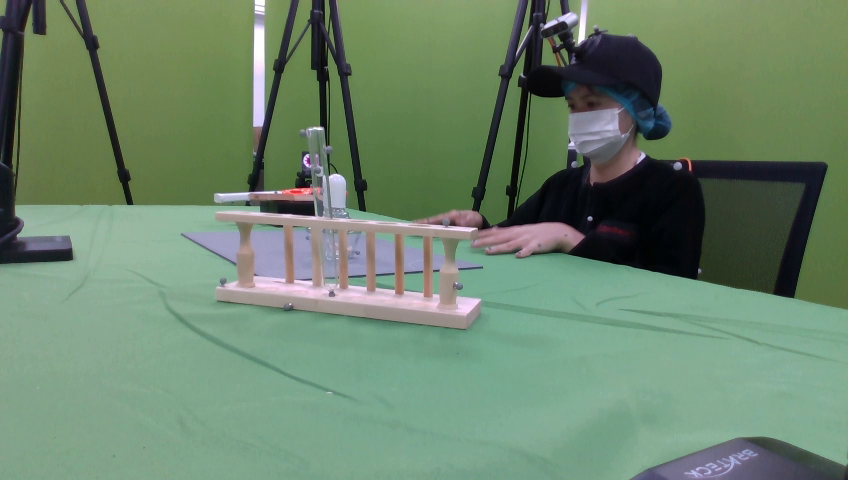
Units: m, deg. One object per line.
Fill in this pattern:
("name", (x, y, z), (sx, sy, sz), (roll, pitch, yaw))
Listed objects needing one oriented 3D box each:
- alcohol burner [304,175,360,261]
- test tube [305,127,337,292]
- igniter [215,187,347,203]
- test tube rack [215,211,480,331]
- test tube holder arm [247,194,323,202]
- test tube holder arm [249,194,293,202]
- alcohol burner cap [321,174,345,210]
("alcohol burner", (-0.126, -0.031, 0.838), (0.078, 0.119, 0.078), (3, 5, 0))
("test tube", (-0.092, -0.026, 0.546), (0.017, 0.150, 0.017), (-4, 8, 1))
("igniter", (-0.293, -0.095, 1.267), (0.278, 0.025, 0.057), (-6, 12, -33))
("test tube rack", (-0.071, 0.023, 0.565), (0.242, 0.085, 0.067), (5, 7, 16))
("test tube holder arm", (-0.269, -0.085, 1.230), (0.179, 0.015, 0.013), (-2, 1, -35))
("test tube holder arm", (-0.303, -0.084, 1.200), (0.088, 0.015, 0.010), (-2, 1, -35))
("alcohol burner cap", (-0.125, -0.067, 0.833), (0.034, 0.048, 0.034), (6, 9, -1))
